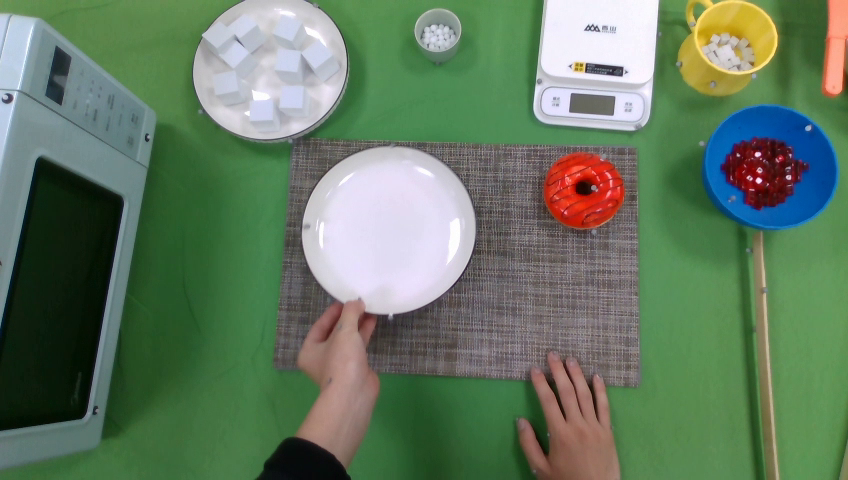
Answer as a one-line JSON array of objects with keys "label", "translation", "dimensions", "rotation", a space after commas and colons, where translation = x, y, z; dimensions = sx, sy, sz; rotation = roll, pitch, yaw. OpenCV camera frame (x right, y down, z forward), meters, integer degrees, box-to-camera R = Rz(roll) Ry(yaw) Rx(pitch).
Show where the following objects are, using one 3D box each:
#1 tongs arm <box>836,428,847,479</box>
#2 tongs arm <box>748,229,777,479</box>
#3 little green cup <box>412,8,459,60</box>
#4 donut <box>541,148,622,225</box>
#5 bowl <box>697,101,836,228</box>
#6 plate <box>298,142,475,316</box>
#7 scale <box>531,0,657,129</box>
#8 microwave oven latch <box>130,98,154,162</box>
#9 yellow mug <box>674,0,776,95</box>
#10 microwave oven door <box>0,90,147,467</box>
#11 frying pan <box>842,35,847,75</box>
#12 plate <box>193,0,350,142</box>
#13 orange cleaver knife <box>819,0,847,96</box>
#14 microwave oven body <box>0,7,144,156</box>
[{"label": "tongs arm", "translation": [0.499, 0.189, 0.705], "dimensions": [0.028, 0.028, 0.386], "rotation": [18, 82, -2]}, {"label": "tongs arm", "translation": [0.413, 0.177, 0.706], "dimensions": [0.051, 0.026, 0.383], "rotation": [3, 81, -2]}, {"label": "little green cup", "translation": [0.017, -0.272, 0.806], "dimensions": [0.061, 0.039, 0.061], "rotation": [-1, 79, 4]}, {"label": "donut", "translation": [0.194, -0.066, 0.752], "dimensions": [0.099, 0.048, 0.098], "rotation": [-1, 80, 5]}, {"label": "bowl", "translation": [0.397, -0.082, 0.731], "dimensions": [0.151, 0.077, 0.151], "rotation": [-1, 81, 4]}, {"label": "plate", "translation": [-0.043, -0.013, 0.719], "dimensions": [0.209, 0.038, 0.208], "rotation": [-1, 77, 3]}, {"label": "scale", "translation": [0.223, -0.248, 0.793], "dimensions": [0.148, 0.032, 0.200], "rotation": [6, 81, 5]}, {"label": "microwave oven latch", "translation": [-0.372, -0.143, 0.786], "dimensions": [0.030, 0.029, 0.079], "rotation": [6, 81, 4]}, {"label": "yellow mug", "translation": [0.371, -0.258, 0.769], "dimensions": [0.100, 0.064, 0.130], "rotation": [-30, 79, -2]}, {"label": "microwave oven door", "translation": [-0.402, 0.053, 0.650], "dimensions": [0.039, 0.245, 0.354], "rotation": [4, 80, 5]}, {"label": "frying pan", "translation": [0.689, -0.183, 0.718], "dimensions": [0.307, 0.103, 0.484], "rotation": [-24, 71, 0]}, {"label": "plate", "translation": [-0.200, -0.227, 0.810], "dimensions": [0.207, 0.039, 0.207], "rotation": [-1, 80, 3]}, {"label": "orange cleaver knife", "translation": [0.510, -0.272, 0.726], "dimensions": [0.077, 0.012, 0.210], "rotation": [7, 81, 7]}, {"label": "microwave oven body", "translation": [-0.543, 0.000, 0.672], "dimensions": [0.326, 0.261, 0.440], "rotation": [5, 81, 4]}]
